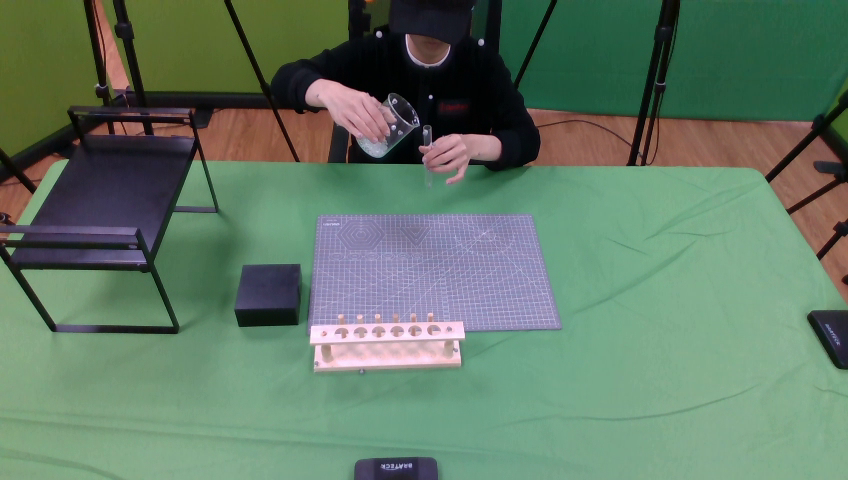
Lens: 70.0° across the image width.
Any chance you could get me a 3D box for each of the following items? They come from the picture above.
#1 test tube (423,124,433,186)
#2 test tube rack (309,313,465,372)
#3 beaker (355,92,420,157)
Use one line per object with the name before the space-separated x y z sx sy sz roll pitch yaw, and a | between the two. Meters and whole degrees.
test tube | 0.009 -0.157 1.149 0.017 0.151 0.017 -1 50 2
test tube rack | -0.059 0.161 0.990 0.242 0.085 0.066 -1 46 -5
beaker | -0.066 -0.201 1.078 0.084 0.100 0.073 27 37 -38
